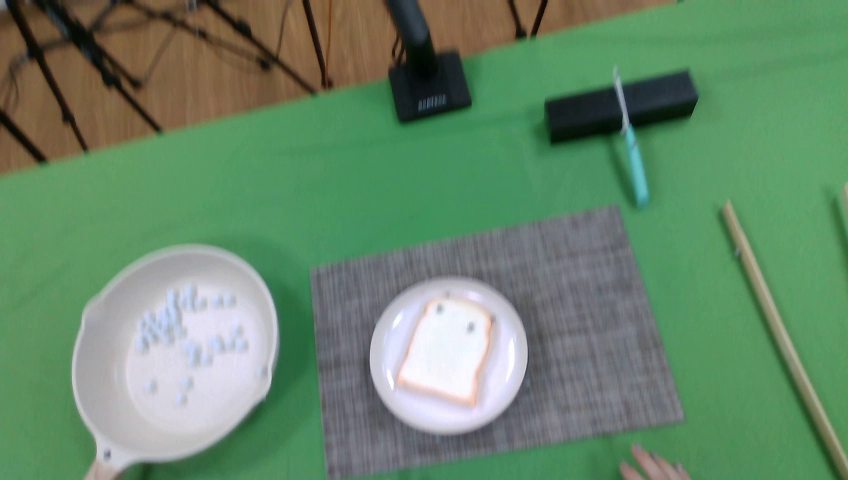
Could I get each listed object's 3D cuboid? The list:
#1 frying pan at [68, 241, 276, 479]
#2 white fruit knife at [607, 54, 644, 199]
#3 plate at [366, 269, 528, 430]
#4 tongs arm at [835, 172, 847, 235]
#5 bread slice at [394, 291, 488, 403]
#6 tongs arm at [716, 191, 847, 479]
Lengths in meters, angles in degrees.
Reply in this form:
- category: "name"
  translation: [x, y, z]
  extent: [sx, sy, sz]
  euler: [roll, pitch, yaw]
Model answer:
- category: "frying pan"
  translation: [-0.378, 0.233, 0.792]
  extent: [0.305, 0.103, 0.485]
  euler: [19, 66, 17]
- category: "white fruit knife"
  translation: [0.276, -0.160, 0.837]
  extent: [0.016, 0.027, 0.206]
  euler: [-11, 82, 5]
- category: "plate"
  translation: [0.030, 0.140, 0.787]
  extent: [0.207, 0.039, 0.206]
  euler: [-3, 69, 9]
- category: "tongs arm"
  translation: [0.516, 0.099, 0.723]
  extent: [0.050, 0.027, 0.382]
  euler: [-4, 70, 10]
- category: "bread slice"
  translation: [0.027, 0.134, 0.792]
  extent: [0.106, 0.018, 0.133]
  euler: [11, 74, 13]
- category: "tongs arm"
  translation: [0.438, 0.112, 0.736]
  extent: [0.028, 0.028, 0.384]
  euler: [-15, 68, 2]
